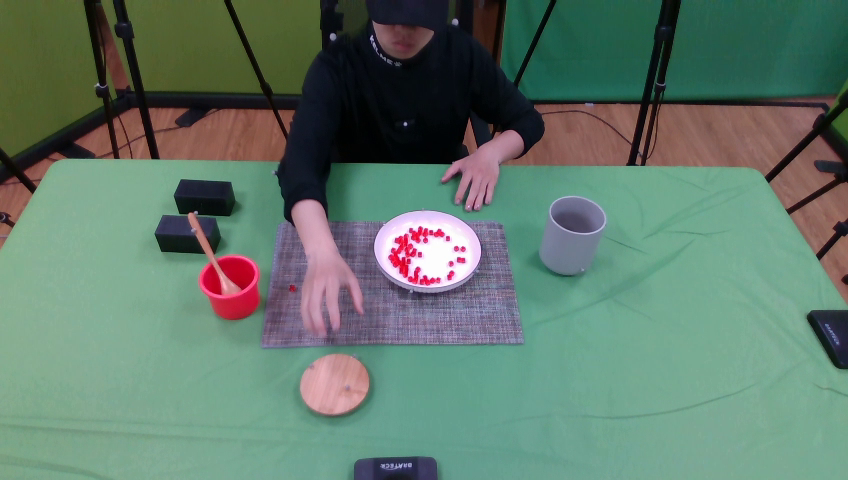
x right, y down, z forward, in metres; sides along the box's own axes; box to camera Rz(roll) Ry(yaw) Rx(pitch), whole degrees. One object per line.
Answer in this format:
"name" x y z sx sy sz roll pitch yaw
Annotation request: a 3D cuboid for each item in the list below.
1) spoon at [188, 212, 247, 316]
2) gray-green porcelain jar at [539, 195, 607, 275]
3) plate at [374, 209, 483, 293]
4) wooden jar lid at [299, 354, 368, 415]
"spoon" -0.358 0.042 1.036 0.041 0.021 0.194 -28 93 -21
"gray-green porcelain jar" 0.278 -0.004 1.148 0.106 0.127 0.105 2 46 -2
"plate" 0.008 0.024 1.158 0.208 0.039 0.206 2 46 -2
"wooden jar lid" -0.143 0.232 0.964 0.108 0.021 0.107 2 45 -2
